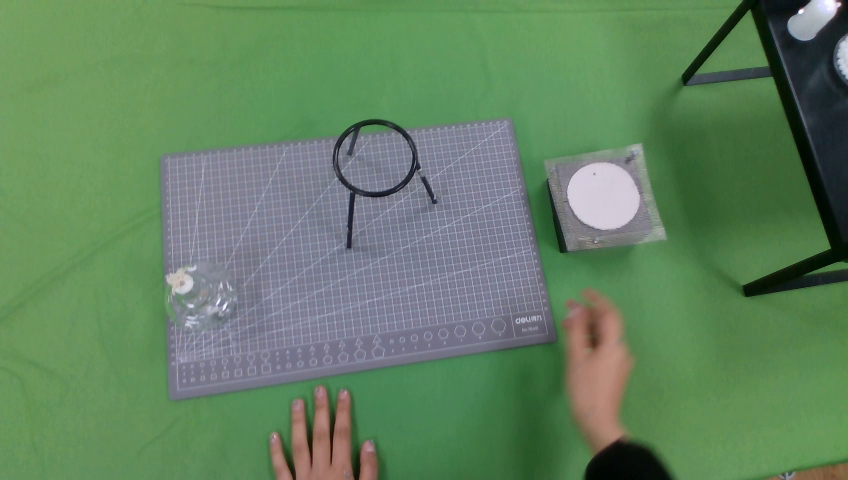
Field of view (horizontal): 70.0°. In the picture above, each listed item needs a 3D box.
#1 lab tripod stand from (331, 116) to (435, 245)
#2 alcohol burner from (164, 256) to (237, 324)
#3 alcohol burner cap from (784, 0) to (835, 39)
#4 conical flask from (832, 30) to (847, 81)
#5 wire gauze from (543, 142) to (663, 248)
[{"bbox_3d":[-0.059,-0.075,0.696,0.148,0.132,0.147,0,74,-1],"label":"lab tripod stand"},{"bbox_3d":[-0.248,0.051,0.658,0.078,0.119,0.077,1,75,-4],"label":"alcohol burner"},{"bbox_3d":[0.408,-0.238,0.637,0.034,0.048,0.033,1,76,-3],"label":"alcohol burner cap"},{"bbox_3d":[0.472,-0.205,0.591,0.075,0.122,0.075,1,74,-3],"label":"conical flask"},{"bbox_3d":[0.215,-0.054,0.725,0.125,0.011,0.121,-8,77,-5],"label":"wire gauze"}]
